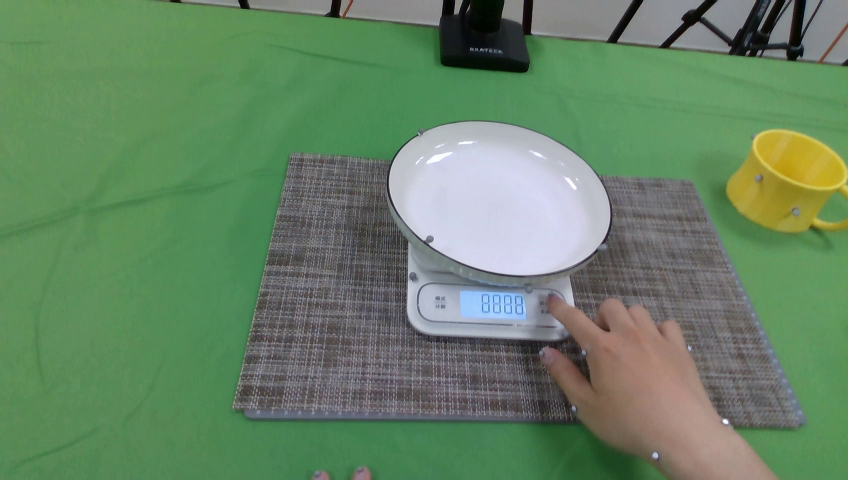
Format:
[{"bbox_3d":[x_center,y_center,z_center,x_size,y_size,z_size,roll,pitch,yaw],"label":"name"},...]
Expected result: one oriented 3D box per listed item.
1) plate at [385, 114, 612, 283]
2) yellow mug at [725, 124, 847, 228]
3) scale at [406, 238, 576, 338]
[{"bbox_3d":[0.066,-0.040,0.562,0.209,0.038,0.207,4,48,-5],"label":"plate"},{"bbox_3d":[0.405,-0.062,0.656,0.100,0.064,0.130,-34,61,-31],"label":"yellow mug"},{"bbox_3d":[0.059,0.000,0.570,0.149,0.032,0.199,4,48,-5],"label":"scale"}]
